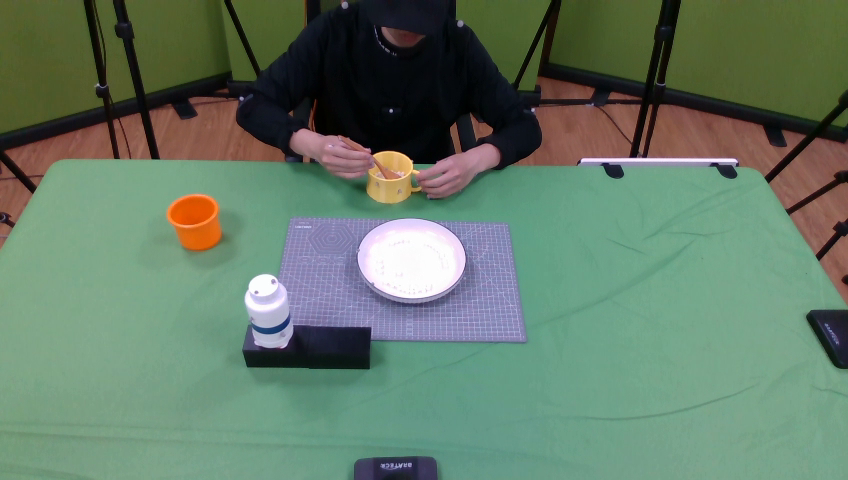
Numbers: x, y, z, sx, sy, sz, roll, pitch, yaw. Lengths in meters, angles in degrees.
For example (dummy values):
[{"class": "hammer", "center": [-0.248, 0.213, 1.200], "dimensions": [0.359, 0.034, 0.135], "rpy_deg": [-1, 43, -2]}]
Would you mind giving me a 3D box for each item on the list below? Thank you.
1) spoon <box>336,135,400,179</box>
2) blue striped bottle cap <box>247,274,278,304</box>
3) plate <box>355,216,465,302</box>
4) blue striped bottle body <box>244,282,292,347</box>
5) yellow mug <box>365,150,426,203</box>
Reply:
[{"class": "spoon", "center": [-0.109, -0.164, 1.244], "dimensions": [0.021, 0.195, 0.041], "rpy_deg": [-32, 46, 21]}, {"class": "blue striped bottle cap", "center": [-0.239, 0.072, 0.900], "dimensions": [0.044, 0.021, 0.044], "rpy_deg": [4, 46, -4]}, {"class": "plate", "center": [-0.027, 0.039, 1.144], "dimensions": [0.208, 0.039, 0.206], "rpy_deg": [2, 46, -2]}, {"class": "blue striped bottle body", "center": [-0.241, 0.108, 0.937], "dimensions": [0.063, 0.121, 0.062], "rpy_deg": [2, 46, -2]}, {"class": "yellow mug", "center": [-0.061, -0.133, 1.291], "dimensions": [0.131, 0.064, 0.099], "rpy_deg": [8, 46, 3]}]
